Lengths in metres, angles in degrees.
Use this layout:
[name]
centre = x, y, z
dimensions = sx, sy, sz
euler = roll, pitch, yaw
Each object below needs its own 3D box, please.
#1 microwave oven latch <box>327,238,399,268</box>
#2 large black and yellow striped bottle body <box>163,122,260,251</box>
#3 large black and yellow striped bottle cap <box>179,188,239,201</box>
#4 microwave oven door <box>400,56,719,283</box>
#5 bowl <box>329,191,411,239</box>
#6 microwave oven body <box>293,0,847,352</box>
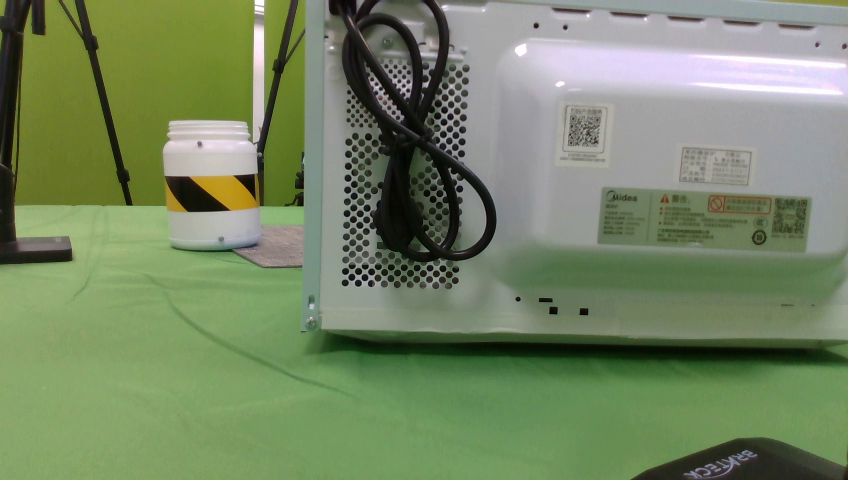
[microwave oven latch]
centre = -0.069, 0.015, 0.694
dimensions = 0.079, 0.029, 0.030
euler = 3, 7, -3
[large black and yellow striped bottle body]
centre = -0.317, -0.083, 0.907
dimensions = 0.131, 0.184, 0.130
euler = 0, 9, 0
[large black and yellow striped bottle cap]
centre = -0.434, -0.093, 1.226
dimensions = 0.115, 0.019, 0.115
euler = 3, 9, 0
[microwave oven door]
centre = 0.155, -0.077, 0.698
dimensions = 0.356, 0.243, 0.039
euler = 2, 8, -5
[bowl]
centre = -0.099, -0.046, 1.104
dimensions = 0.151, 0.077, 0.151
euler = 3, 8, 0
[microwave oven body]
centre = 0.122, -0.055, 0.550
dimensions = 0.442, 0.260, 0.325
euler = 3, 7, -5
